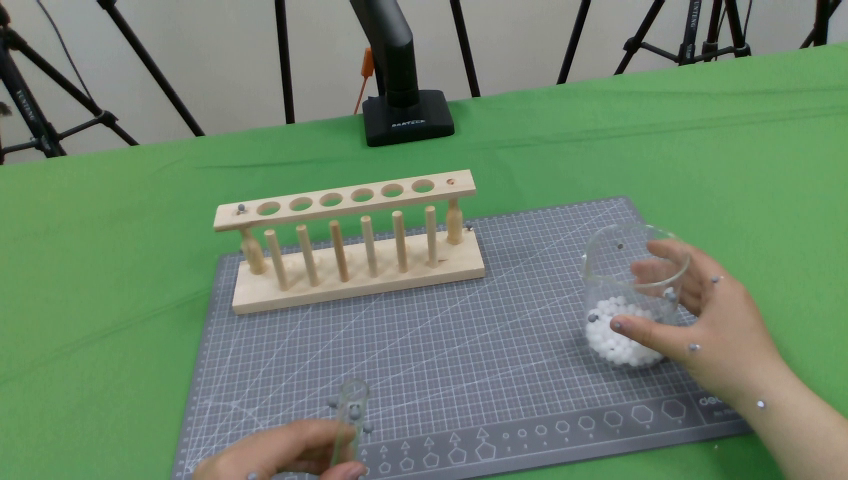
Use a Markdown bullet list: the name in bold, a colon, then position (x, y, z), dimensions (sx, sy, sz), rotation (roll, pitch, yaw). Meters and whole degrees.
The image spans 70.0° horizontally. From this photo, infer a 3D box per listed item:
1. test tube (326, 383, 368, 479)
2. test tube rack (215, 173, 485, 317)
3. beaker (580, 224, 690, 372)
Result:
- **test tube**: position (-0.050, 0.138, 0.364), dimensions (0.017, 0.151, 0.017), rotation (8, 38, -6)
- **test tube rack**: position (-0.068, 0.005, 0.583), dimensions (0.242, 0.086, 0.066), rotation (-8, 40, -2)
- **beaker**: position (0.162, 0.050, 0.482), dimensions (0.084, 0.101, 0.073), rotation (-18, 39, -10)
